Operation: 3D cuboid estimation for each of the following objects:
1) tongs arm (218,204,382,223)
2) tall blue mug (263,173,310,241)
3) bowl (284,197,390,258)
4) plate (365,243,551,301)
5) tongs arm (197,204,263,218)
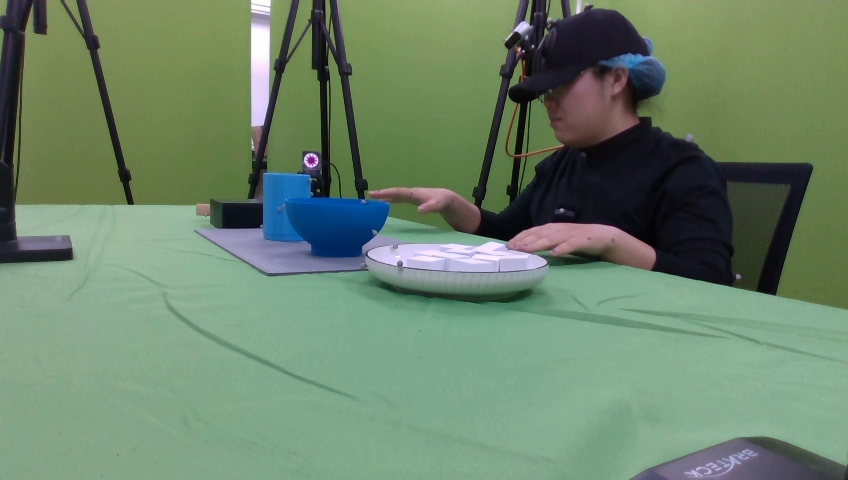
[{"bbox_3d":[-0.285,-0.061,1.382,0.387,0.027,0.028,3,-2,6],"label":"tongs arm"},{"bbox_3d":[-0.233,-0.058,1.019,0.078,0.108,0.107,-1,8,-19],"label":"tall blue mug"},{"bbox_3d":[-0.125,-0.019,0.870,0.151,0.077,0.151,2,8,0],"label":"bowl"},{"bbox_3d":[0.038,0.035,0.685,0.209,0.038,0.209,2,7,0],"label":"plate"},{"bbox_3d":[-0.282,-0.057,1.301,0.386,0.026,0.050,2,1,-7],"label":"tongs arm"}]
